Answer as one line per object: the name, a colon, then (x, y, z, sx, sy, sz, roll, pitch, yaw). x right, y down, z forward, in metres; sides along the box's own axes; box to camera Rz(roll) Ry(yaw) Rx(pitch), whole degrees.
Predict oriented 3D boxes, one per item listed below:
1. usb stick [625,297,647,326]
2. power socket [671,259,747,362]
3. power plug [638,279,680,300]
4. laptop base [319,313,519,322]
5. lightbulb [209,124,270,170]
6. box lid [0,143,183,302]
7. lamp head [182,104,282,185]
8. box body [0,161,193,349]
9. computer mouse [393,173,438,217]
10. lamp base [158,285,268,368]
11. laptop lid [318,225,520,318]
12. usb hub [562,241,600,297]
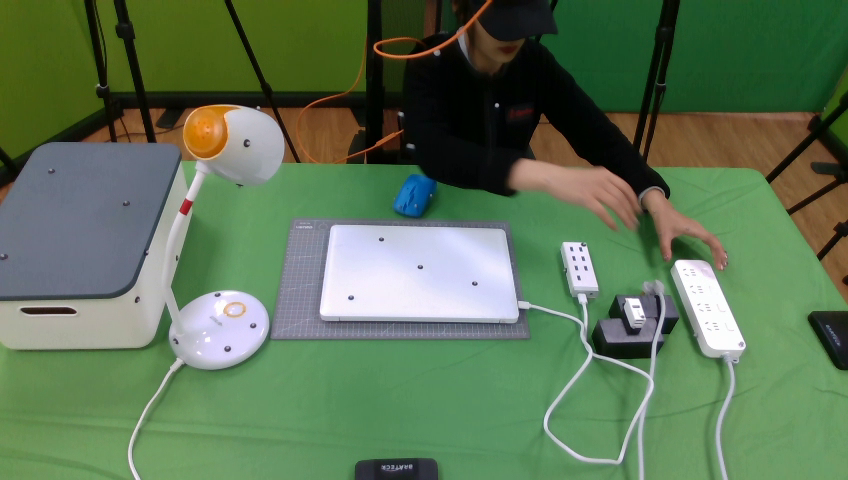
usb stick: (0.360, 0.117, 1.034, 0.021, 0.027, 0.059, -2, 44, -2)
power socket: (0.517, 0.119, 1.108, 0.072, 0.033, 0.225, 1, 46, -2)
power plug: (0.433, 0.099, 1.119, 0.073, 0.053, 0.035, 34, 37, -17)
laptop base: (-0.009, 0.063, 1.137, 0.354, 0.023, 0.234, 1, 42, -3)
lightbulb: (-0.260, -0.135, 0.847, 0.059, 0.108, 0.059, -4, 79, 20)
box lid: (-0.567, -0.045, 0.999, 0.263, 0.015, 0.369, -1, 46, -4)
lamp head: (-0.271, -0.133, 0.825, 0.112, 0.112, 0.123, 20, 8, 15)
box body: (-0.570, 0.006, 1.054, 0.254, 0.161, 0.361, -1, 46, -4)
computer mouse: (-0.018, -0.098, 1.282, 0.062, 0.041, 0.117, 20, 52, 13)
lamp base: (-0.348, 0.102, 0.963, 0.160, 0.181, 0.178, 23, 51, 18)
laptop lid: (-0.009, 0.053, 1.131, 0.357, 0.013, 0.240, 2, 43, -2)
usb hub: (0.300, 0.055, 1.162, 0.049, 0.025, 0.124, 2, 46, -3)
